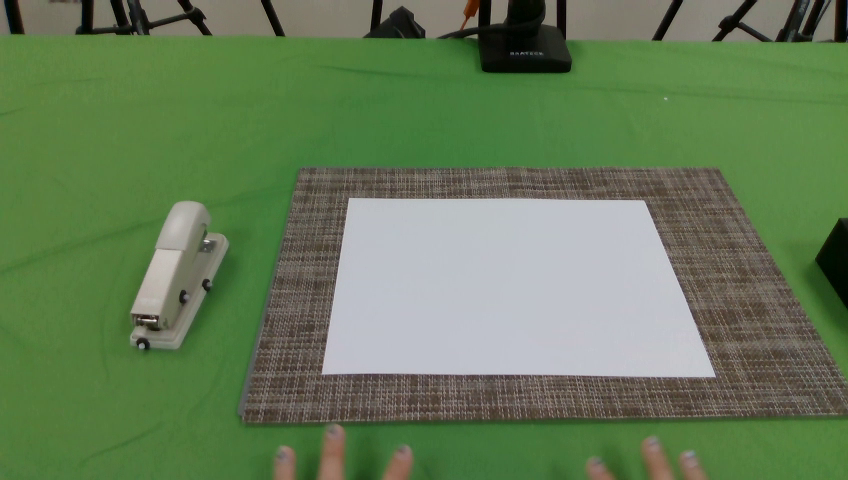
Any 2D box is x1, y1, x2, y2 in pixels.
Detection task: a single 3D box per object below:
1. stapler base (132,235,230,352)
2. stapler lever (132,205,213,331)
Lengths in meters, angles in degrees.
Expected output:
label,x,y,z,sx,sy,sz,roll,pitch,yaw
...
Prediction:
label,x,y,z,sx,sy,sz,roll,pitch,yaw
stapler base,-0.205,0.036,0.516,0.041,0.024,0.129,3,45,5
stapler lever,-0.205,0.019,0.497,0.027,0.040,0.117,3,45,5
